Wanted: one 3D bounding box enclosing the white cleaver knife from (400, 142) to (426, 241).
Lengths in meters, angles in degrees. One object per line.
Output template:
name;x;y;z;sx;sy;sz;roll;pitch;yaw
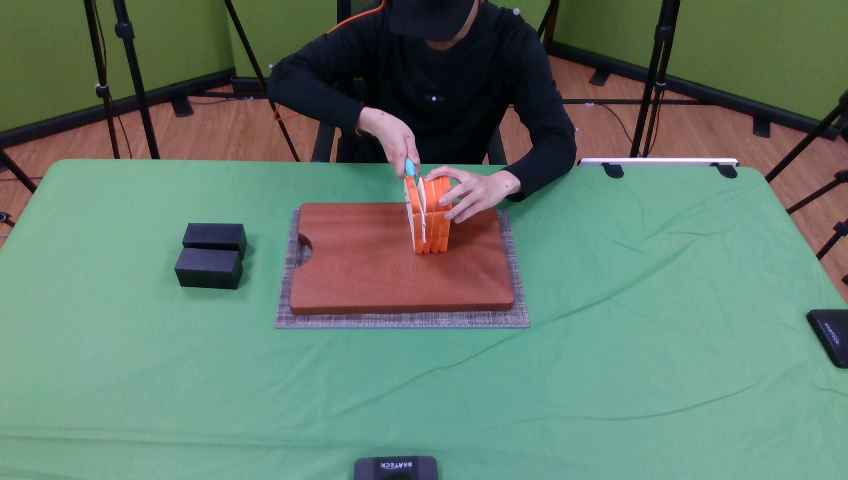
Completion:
white cleaver knife;-0.023;-0.101;1.182;0.021;0.066;0.284;-5;40;-6

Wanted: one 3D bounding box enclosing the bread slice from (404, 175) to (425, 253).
bread slice;-0.019;-0.055;1.133;0.019;0.132;0.104;-11;45;-5

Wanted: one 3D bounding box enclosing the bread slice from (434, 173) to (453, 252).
bread slice;0.036;-0.057;1.138;0.018;0.135;0.106;-4;48;-7
